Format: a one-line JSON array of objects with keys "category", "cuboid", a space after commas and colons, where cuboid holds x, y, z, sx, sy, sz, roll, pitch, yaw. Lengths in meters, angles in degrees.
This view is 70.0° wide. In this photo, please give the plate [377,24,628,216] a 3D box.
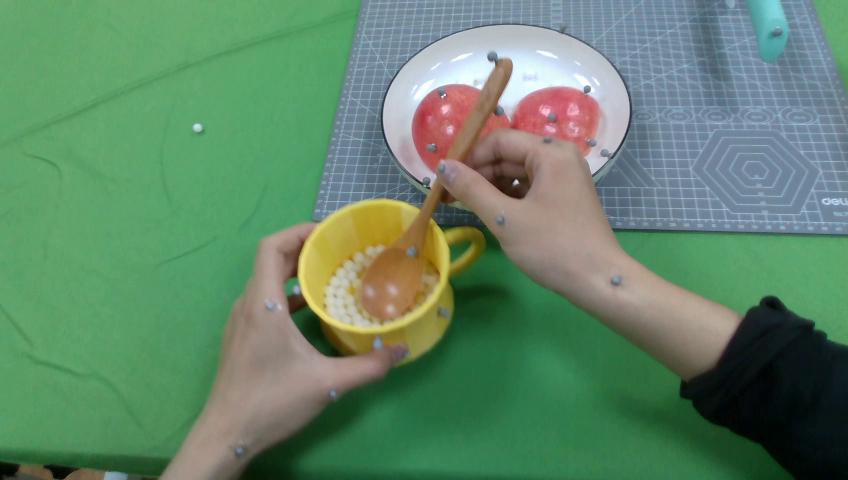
[{"category": "plate", "cuboid": [0.064, -0.103, 0.520, 0.209, 0.038, 0.207, -3, 58, 5]}]

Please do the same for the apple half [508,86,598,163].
[{"category": "apple half", "cuboid": [0.108, -0.106, 0.508, 0.081, 0.033, 0.080, -3, 61, 5]}]

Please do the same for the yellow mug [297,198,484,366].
[{"category": "yellow mug", "cuboid": [-0.017, 0.023, 0.422, 0.131, 0.064, 0.099, -23, 63, -10]}]

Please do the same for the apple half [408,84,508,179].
[{"category": "apple half", "cuboid": [0.027, -0.098, 0.502, 0.081, 0.054, 0.074, -36, 58, -15]}]

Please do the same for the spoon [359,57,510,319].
[{"category": "spoon", "cuboid": [0.007, -0.027, 0.393, 0.041, 0.194, 0.021, 35, 27, 14]}]

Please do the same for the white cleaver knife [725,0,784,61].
[{"category": "white cleaver knife", "cuboid": [0.297, -0.263, 0.576, 0.021, 0.066, 0.284, 0, 54, 12]}]
